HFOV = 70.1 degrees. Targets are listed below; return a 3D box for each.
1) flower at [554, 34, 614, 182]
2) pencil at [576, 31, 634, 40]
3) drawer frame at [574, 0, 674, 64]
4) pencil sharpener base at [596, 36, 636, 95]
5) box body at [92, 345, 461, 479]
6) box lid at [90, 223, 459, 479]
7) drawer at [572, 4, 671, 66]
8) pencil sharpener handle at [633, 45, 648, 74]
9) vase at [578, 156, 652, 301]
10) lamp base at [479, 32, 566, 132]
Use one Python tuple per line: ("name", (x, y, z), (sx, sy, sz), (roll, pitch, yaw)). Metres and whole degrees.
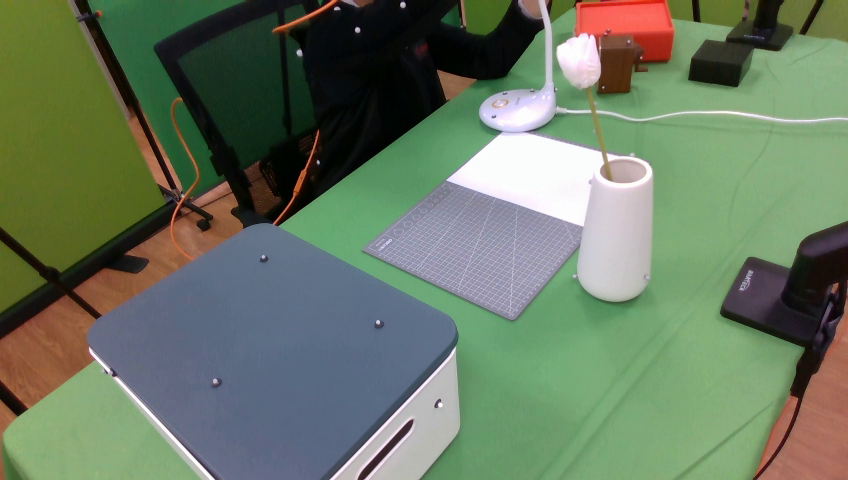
("flower", (0.237, -0.083, 0.774), (0.044, 0.363, 0.038), (-22, 26, 6))
("pencil", (0.430, -0.487, 1.443), (0.012, 0.012, 0.192), (-25, 30, -18))
("drawer frame", (0.464, -0.492, 1.434), (0.213, 0.083, 0.201), (1, 40, 12))
("pencil sharpener base", (0.406, -0.369, 1.280), (0.076, 0.107, 0.061), (1, 41, 13))
("box body", (-0.162, 0.170, 0.708), (0.361, 0.161, 0.255), (25, 50, 34))
("box lid", (-0.174, 0.102, 0.666), (0.368, 0.015, 0.264), (24, 48, 35))
("drawer", (0.461, -0.490, 1.435), (0.211, 0.073, 0.194), (2, 40, 12))
("pencil sharpener handle", (0.454, -0.378, 1.262), (0.030, 0.068, 0.036), (1, 47, 13))
("vase", (0.261, -0.011, 0.812), (0.098, 0.201, 0.097), (-4, 40, 4))
("lamp base", (0.200, -0.332, 1.218), (0.179, 0.181, 0.160), (1, 41, 7))
